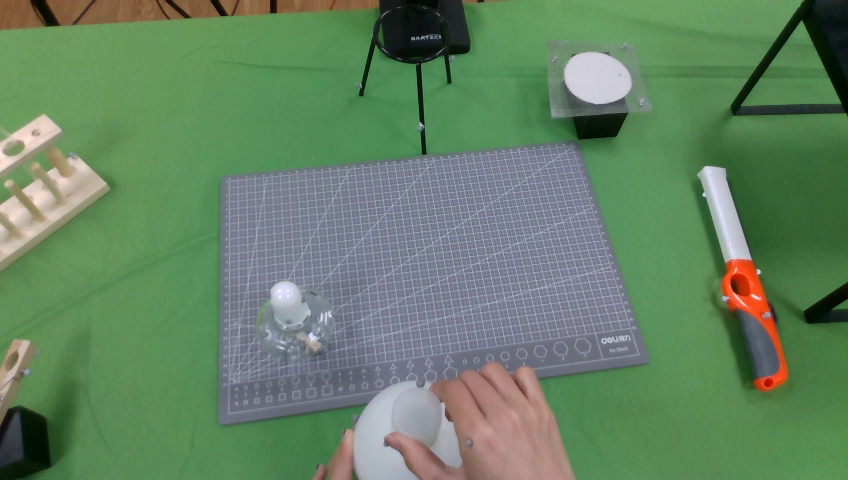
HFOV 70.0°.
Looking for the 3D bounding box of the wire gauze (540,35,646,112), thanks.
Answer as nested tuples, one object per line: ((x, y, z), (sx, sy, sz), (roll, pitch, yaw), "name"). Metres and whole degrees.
((0.211, -0.213, 0.767), (0.121, 0.011, 0.124), (0, 62, -2), "wire gauze")

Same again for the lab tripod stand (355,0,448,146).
((-0.018, -0.210, 0.740), (0.148, 0.132, 0.147), (2, 63, -3), "lab tripod stand")

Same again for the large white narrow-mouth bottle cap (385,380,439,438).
((-0.008, 0.116, 0.416), (0.038, 0.024, 0.037), (1, 62, -2), "large white narrow-mouth bottle cap")

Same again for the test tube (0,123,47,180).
((-0.445, -0.110, 0.639), (0.017, 0.151, 0.017), (0, 61, 1), "test tube")

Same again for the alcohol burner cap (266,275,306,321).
((-0.131, 0.052, 0.566), (0.034, 0.048, 0.033), (0, 58, 1), "alcohol burner cap")

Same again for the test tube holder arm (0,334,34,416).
((-0.392, 0.169, 0.538), (0.013, 0.015, 0.177), (4, 62, 7), "test tube holder arm")

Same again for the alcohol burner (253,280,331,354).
((-0.132, 0.069, 0.598), (0.078, 0.120, 0.077), (2, 61, -3), "alcohol burner")

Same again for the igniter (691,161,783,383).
((0.355, 0.028, 0.694), (0.057, 0.025, 0.274), (4, 62, -12), "igniter")

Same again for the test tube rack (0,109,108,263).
((-0.479, -0.027, 0.650), (0.066, 0.086, 0.242), (39, 67, 16), "test tube rack")

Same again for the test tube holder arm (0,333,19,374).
((-0.392, 0.129, 0.559), (0.010, 0.015, 0.087), (3, 62, 6), "test tube holder arm")

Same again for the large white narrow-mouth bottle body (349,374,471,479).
((-0.012, 0.169, 0.511), (0.102, 0.196, 0.101), (1, 62, -1), "large white narrow-mouth bottle body")
